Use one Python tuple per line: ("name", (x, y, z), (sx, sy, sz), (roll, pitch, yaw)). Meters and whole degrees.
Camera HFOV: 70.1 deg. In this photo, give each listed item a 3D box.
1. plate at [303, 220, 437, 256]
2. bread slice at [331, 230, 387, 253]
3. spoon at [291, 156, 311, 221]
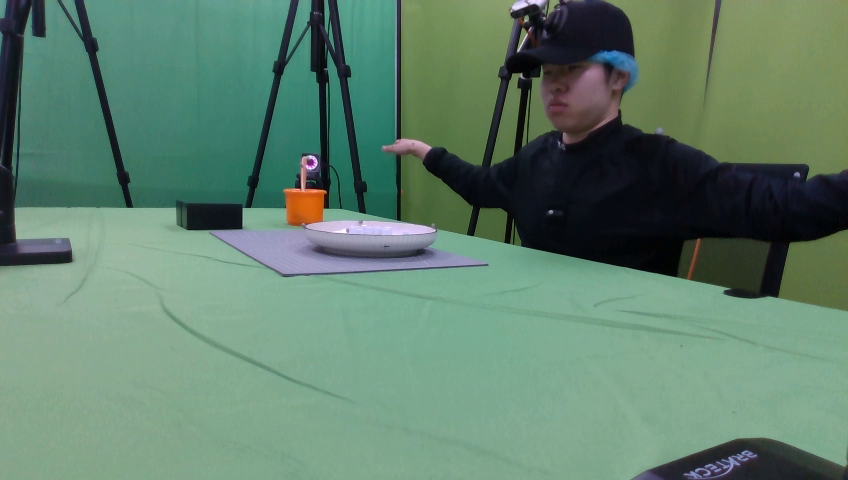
("plate", (-0.084, -0.003, 0.951), (0.209, 0.038, 0.209), (3, 7, 0))
("bread slice", (-0.088, 0.000, 0.947), (0.105, 0.019, 0.131), (-4, 11, -44))
("spoon", (-0.268, -0.117, 1.330), (0.042, 0.021, 0.193), (3, 47, -12))
